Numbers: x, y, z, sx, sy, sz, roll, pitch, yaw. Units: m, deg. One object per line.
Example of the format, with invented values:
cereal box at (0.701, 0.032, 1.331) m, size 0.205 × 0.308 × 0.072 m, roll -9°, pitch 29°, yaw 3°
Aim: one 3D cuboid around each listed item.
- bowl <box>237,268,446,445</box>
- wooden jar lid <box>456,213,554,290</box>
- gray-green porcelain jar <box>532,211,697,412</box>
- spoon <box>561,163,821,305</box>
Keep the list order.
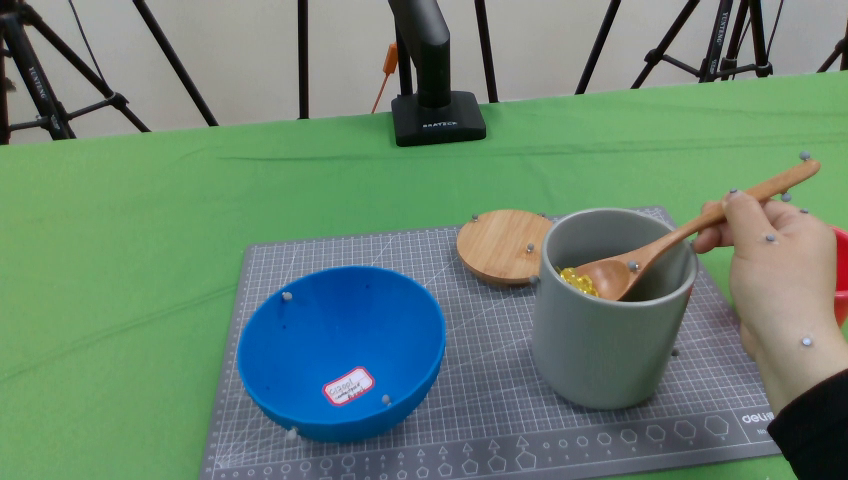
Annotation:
bowl at (-0.057, 0.099, 0.461) m, size 0.151 × 0.077 × 0.150 m, roll -2°, pitch 40°, yaw 2°
wooden jar lid at (0.086, 0.012, 0.604) m, size 0.108 × 0.021 × 0.107 m, roll -2°, pitch 38°, yaw 2°
gray-green porcelain jar at (0.137, 0.059, 0.459) m, size 0.106 × 0.127 × 0.105 m, roll -2°, pitch 40°, yaw 2°
spoon at (0.179, -0.001, 0.414) m, size 0.194 × 0.022 × 0.041 m, roll -32°, pitch 42°, yaw 12°
